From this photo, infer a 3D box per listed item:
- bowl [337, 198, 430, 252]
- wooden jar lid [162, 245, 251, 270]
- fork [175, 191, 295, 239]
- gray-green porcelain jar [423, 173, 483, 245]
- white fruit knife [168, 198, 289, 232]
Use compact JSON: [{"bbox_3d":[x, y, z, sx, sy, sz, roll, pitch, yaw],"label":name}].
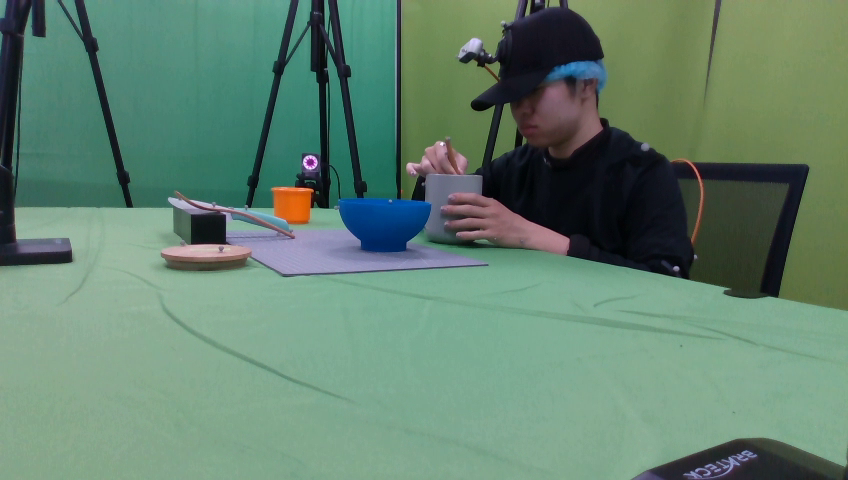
[{"bbox_3d":[-0.066,-0.024,0.966,0.151,0.077,0.151,2,7,0],"label":"bowl"},{"bbox_3d":[-0.278,0.022,0.777,0.108,0.020,0.108,2,6,0],"label":"wooden jar lid"},{"bbox_3d":[-0.305,-0.039,0.993,0.208,0.018,0.028,19,-9,-34],"label":"fork"},{"bbox_3d":[0.052,-0.059,1.116,0.106,0.126,0.106,3,8,0],"label":"gray-green porcelain jar"},{"bbox_3d":[-0.329,-0.044,1.036,0.208,0.027,0.016,14,-1,-32],"label":"white fruit knife"}]
